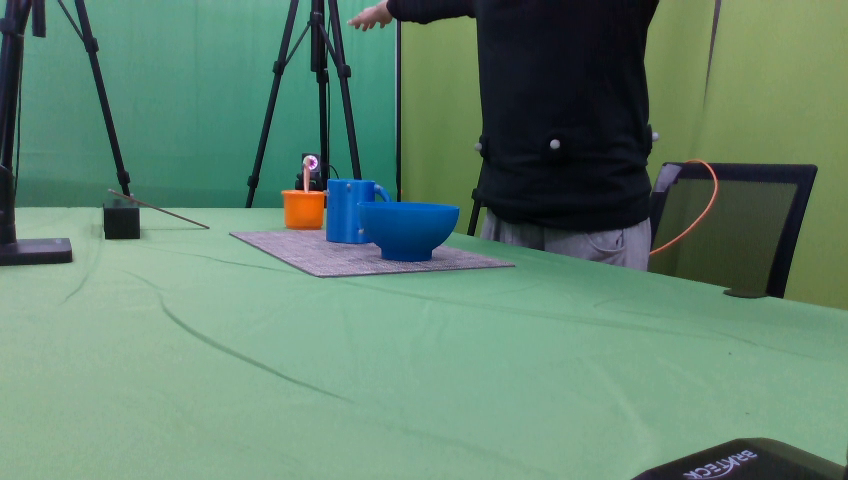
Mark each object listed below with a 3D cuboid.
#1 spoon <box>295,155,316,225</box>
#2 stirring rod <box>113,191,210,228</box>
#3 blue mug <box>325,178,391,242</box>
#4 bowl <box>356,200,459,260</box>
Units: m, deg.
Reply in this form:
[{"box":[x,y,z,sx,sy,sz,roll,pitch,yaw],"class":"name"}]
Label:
[{"box":[-0.247,-0.108,1.261,0.042,0.021,0.193,5,46,-16],"class":"spoon"},{"box":[-0.484,-0.055,1.121,0.177,0.006,0.014,22,-6,-22],"class":"stirring rod"},{"box":[-0.111,-0.052,1.034,0.116,0.106,0.082,3,7,7],"class":"blue mug"},{"box":[-0.025,-0.015,0.877,0.151,0.077,0.151,2,7,0],"class":"bowl"}]
